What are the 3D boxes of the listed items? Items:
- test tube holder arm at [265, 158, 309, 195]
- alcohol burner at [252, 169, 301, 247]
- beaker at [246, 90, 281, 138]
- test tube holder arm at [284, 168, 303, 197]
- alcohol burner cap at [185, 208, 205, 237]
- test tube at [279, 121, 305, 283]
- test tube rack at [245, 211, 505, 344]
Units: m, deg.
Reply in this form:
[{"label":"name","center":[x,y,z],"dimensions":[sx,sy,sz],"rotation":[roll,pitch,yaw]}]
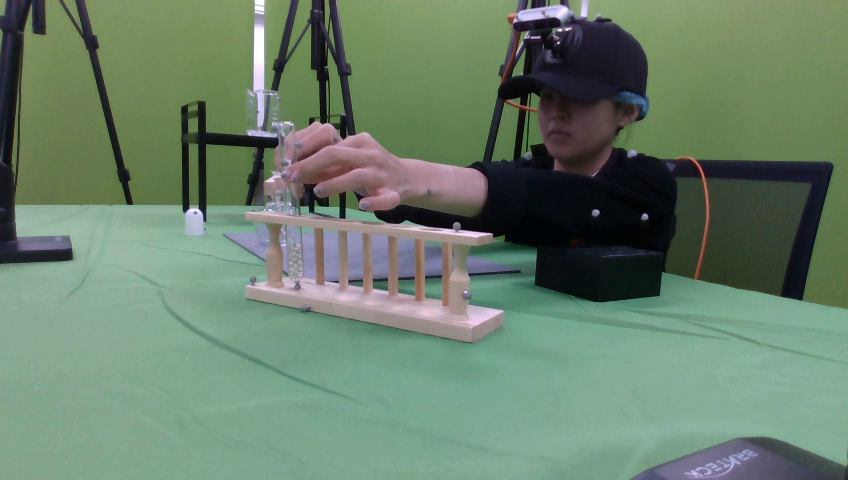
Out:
[{"label":"test tube holder arm","center":[-0.146,-0.072,0.658],"dimensions":[0.013,0.015,0.178],"rotation":[8,15,-3]},{"label":"alcohol burner","center":[-0.228,-0.050,0.937],"dimensions":[0.078,0.119,0.078],"rotation":[1,7,0]},{"label":"beaker","center":[-0.354,-0.275,1.322],"dimensions":[0.074,0.100,0.084],"rotation":[4,8,12]},{"label":"test tube holder arm","center":[-0.135,-0.060,0.617],"dimensions":[0.010,0.015,0.087],"rotation":[1,16,-21]},{"label":"alcohol burner cap","center":[-0.392,-0.031,1.032],"dimensions":[0.034,0.048,0.034],"rotation":[3,8,0]},{"label":"test tube","center":[-0.123,-0.035,0.561],"dimensions":[0.017,0.150,0.017],"rotation":[-2,4,1]},{"label":"test tube rack","center":[-0.049,0.024,0.547],"dimensions":[0.241,0.085,0.067],"rotation":[7,8,29]}]
